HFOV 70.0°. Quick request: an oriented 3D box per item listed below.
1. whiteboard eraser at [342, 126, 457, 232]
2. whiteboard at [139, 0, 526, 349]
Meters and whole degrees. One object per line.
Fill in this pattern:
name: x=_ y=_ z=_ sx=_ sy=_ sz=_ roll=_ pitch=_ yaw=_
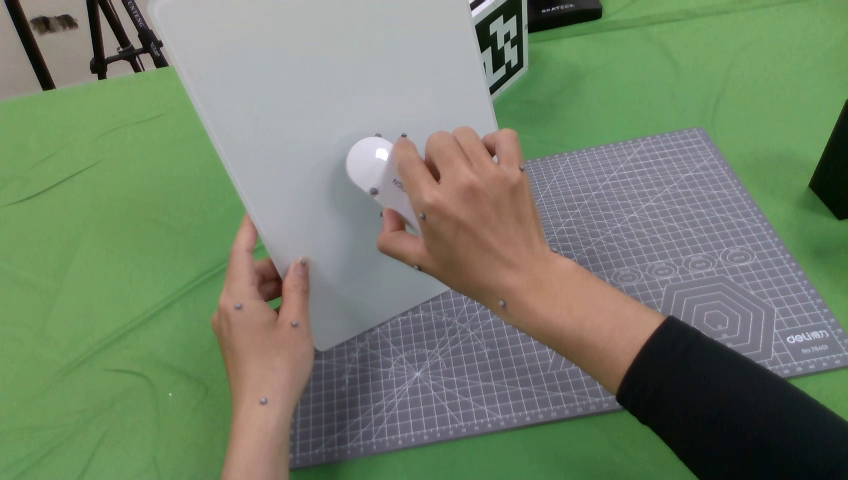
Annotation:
whiteboard eraser: x=-0.018 y=-0.046 z=0.458 sx=0.041 sy=0.102 sz=0.018 roll=-53 pitch=15 yaw=-7
whiteboard: x=-0.066 y=-0.102 z=0.531 sx=0.217 sy=0.308 sz=0.142 roll=-26 pitch=31 yaw=-11
